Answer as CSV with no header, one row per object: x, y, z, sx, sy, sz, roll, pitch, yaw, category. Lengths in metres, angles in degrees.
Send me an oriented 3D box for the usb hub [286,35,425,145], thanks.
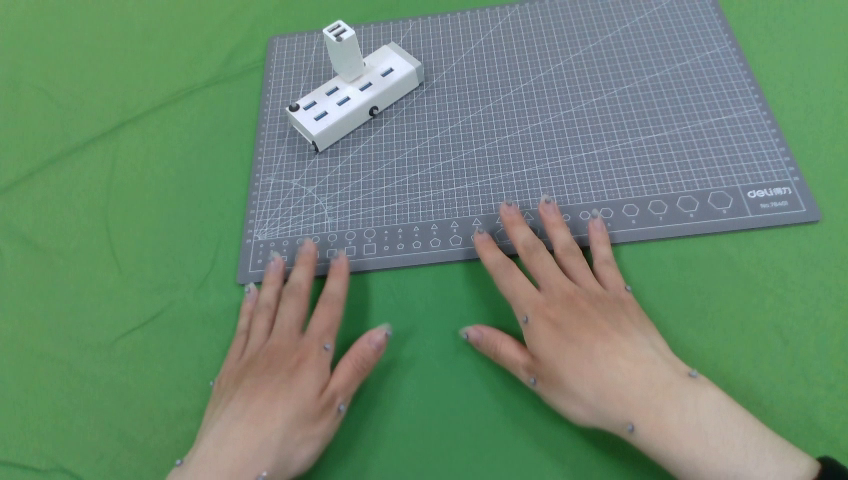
-0.062,-0.140,0.559,0.125,0.025,0.049,-37,60,-15,usb hub

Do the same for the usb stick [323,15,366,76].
-0.069,-0.169,0.543,0.021,0.060,0.027,-39,59,-15,usb stick
